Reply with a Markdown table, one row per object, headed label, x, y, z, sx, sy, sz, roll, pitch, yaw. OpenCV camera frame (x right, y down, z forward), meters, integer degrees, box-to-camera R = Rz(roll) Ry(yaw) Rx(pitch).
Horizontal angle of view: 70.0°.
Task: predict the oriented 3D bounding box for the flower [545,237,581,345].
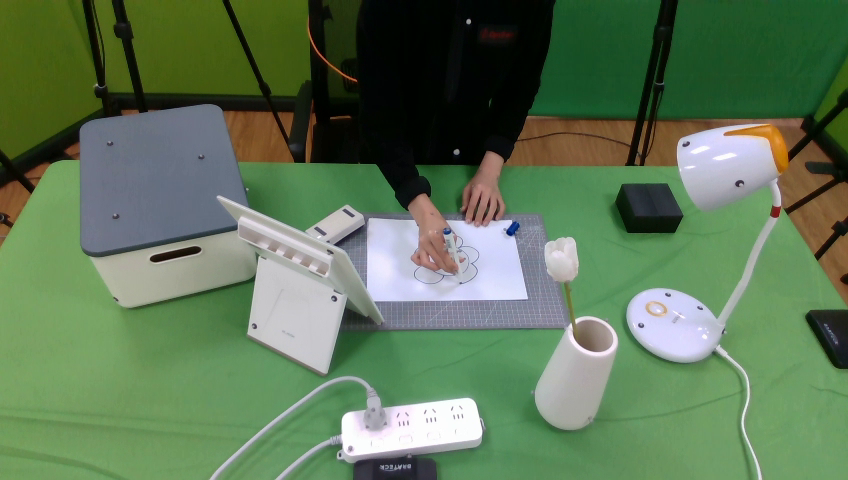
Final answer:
| label | x | y | z | sx | sy | sz | roll | pitch | yaw |
| --- | --- | --- | --- | --- | --- | --- | --- | --- | --- |
| flower | 0.213 | 0.137 | 0.846 | 0.038 | 0.364 | 0.044 | 21 | 55 | 39 |

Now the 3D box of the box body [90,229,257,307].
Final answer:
| label | x | y | z | sx | sy | sz | roll | pitch | yaw |
| --- | --- | --- | --- | --- | --- | --- | --- | --- | --- |
| box body | -0.471 | -0.070 | 1.131 | 0.254 | 0.161 | 0.361 | -14 | 49 | -17 |

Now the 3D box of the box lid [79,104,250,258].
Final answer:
| label | x | y | z | sx | sy | sz | roll | pitch | yaw |
| --- | --- | --- | --- | --- | --- | --- | --- | --- | --- |
| box lid | -0.467 | -0.121 | 1.075 | 0.264 | 0.015 | 0.369 | -13 | 49 | -18 |

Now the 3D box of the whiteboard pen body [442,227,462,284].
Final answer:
| label | x | y | z | sx | sy | sz | roll | pitch | yaw |
| --- | --- | --- | --- | --- | --- | --- | --- | --- | --- |
| whiteboard pen body | 0.054 | 0.031 | 1.088 | 0.017 | 0.141 | 0.017 | -9 | 42 | 9 |

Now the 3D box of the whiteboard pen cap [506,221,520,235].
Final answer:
| label | x | y | z | sx | sy | sz | roll | pitch | yaw |
| --- | --- | --- | --- | --- | --- | --- | --- | --- | --- |
| whiteboard pen cap | 0.180 | -0.023 | 1.234 | 0.018 | 0.018 | 0.033 | 27 | 52 | 20 |

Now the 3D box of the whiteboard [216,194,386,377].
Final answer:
| label | x | y | z | sx | sy | sz | roll | pitch | yaw |
| --- | --- | --- | --- | --- | --- | --- | --- | --- | --- |
| whiteboard | -0.212 | 0.093 | 0.939 | 0.216 | 0.307 | 0.143 | 24 | 70 | 17 |

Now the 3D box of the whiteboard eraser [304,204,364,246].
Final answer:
| label | x | y | z | sx | sy | sz | roll | pitch | yaw |
| --- | --- | --- | --- | --- | --- | --- | --- | --- | --- |
| whiteboard eraser | -0.175 | -0.022 | 1.188 | 0.055 | 0.042 | 0.112 | 36 | 53 | 26 |

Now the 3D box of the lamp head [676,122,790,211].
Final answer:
| label | x | y | z | sx | sy | sz | roll | pitch | yaw |
| --- | --- | --- | --- | --- | --- | --- | --- | --- | --- |
| lamp head | 0.423 | -0.104 | 0.819 | 0.122 | 0.113 | 0.112 | -13 | 33 | 40 |

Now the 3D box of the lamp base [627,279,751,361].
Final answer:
| label | x | y | z | sx | sy | sz | roll | pitch | yaw |
| --- | --- | --- | --- | --- | --- | --- | --- | --- | --- |
| lamp base | 0.460 | 0.100 | 1.027 | 0.178 | 0.181 | 0.160 | 27 | 51 | 17 |

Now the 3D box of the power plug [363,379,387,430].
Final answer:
| label | x | y | z | sx | sy | sz | roll | pitch | yaw |
| --- | --- | --- | --- | --- | --- | --- | --- | --- | --- |
| power plug | -0.071 | 0.252 | 0.911 | 0.035 | 0.053 | 0.072 | 3 | 40 | 0 |

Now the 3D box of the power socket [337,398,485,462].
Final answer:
| label | x | y | z | sx | sy | sz | roll | pitch | yaw |
| --- | --- | --- | --- | --- | --- | --- | --- | --- | --- |
| power socket | -0.018 | 0.285 | 0.914 | 0.227 | 0.033 | 0.071 | -4 | 46 | -8 |

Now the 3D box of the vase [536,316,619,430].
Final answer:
| label | x | y | z | sx | sy | sz | roll | pitch | yaw |
| --- | --- | --- | --- | --- | --- | --- | --- | --- | --- |
| vase | 0.229 | 0.200 | 0.901 | 0.098 | 0.201 | 0.097 | 3 | 46 | -3 |
